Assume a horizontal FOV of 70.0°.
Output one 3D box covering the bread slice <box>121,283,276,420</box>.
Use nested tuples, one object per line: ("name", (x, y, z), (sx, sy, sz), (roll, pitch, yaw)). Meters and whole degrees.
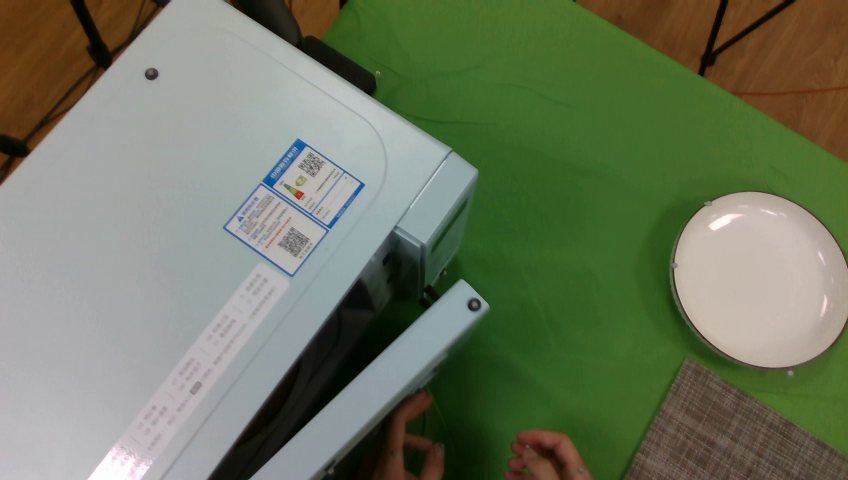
("bread slice", (-0.233, 0.118, 0.619), (0.131, 0.019, 0.104), (-36, 81, -30))

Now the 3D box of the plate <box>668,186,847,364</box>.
("plate", (0.384, 0.040, 0.706), (0.208, 0.039, 0.206), (0, 75, -1))

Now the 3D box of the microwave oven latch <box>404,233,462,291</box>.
("microwave oven latch", (0.010, 0.018, 0.684), (0.030, 0.029, 0.079), (38, 78, 8))

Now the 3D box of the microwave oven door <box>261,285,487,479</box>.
("microwave oven door", (-0.089, 0.186, 0.533), (0.355, 0.245, 0.039), (-43, 79, -11))

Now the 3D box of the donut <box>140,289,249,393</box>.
("donut", (-0.217, 0.096, 0.579), (0.099, 0.048, 0.098), (4, 74, -13))

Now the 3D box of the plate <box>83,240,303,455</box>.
("plate", (-0.224, 0.104, 0.605), (0.209, 0.038, 0.208), (1, 78, -5))

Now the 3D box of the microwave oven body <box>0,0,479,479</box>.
("microwave oven body", (-0.211, 0.051, 0.570), (0.325, 0.261, 0.441), (34, 78, 7))

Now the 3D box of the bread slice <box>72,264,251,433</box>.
("bread slice", (-0.230, 0.088, 0.554), (0.107, 0.018, 0.134), (45, 71, -1))
